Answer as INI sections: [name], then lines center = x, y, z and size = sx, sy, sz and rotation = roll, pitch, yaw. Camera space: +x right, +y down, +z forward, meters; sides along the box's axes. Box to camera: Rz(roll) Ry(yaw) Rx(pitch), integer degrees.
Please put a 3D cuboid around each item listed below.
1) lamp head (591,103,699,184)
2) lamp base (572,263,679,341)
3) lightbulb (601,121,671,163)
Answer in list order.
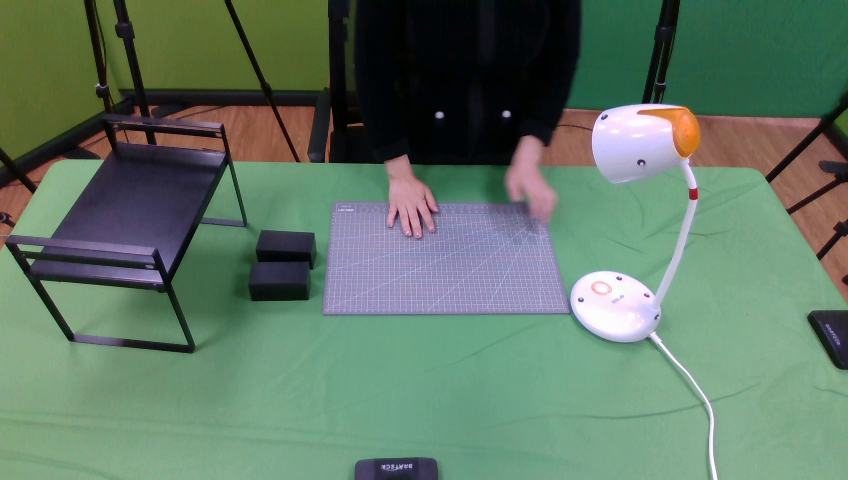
[lamp head]
center = 0.314, -0.136, 0.839
size = 0.112, 0.113, 0.122
rotation = -38, 24, -33
[lamp base]
center = 0.362, 0.071, 1.044
size = 0.178, 0.181, 0.160
rotation = 38, 55, 26
[lightbulb]
center = 0.301, -0.143, 0.860
size = 0.059, 0.059, 0.107
rotation = -31, 15, -29
